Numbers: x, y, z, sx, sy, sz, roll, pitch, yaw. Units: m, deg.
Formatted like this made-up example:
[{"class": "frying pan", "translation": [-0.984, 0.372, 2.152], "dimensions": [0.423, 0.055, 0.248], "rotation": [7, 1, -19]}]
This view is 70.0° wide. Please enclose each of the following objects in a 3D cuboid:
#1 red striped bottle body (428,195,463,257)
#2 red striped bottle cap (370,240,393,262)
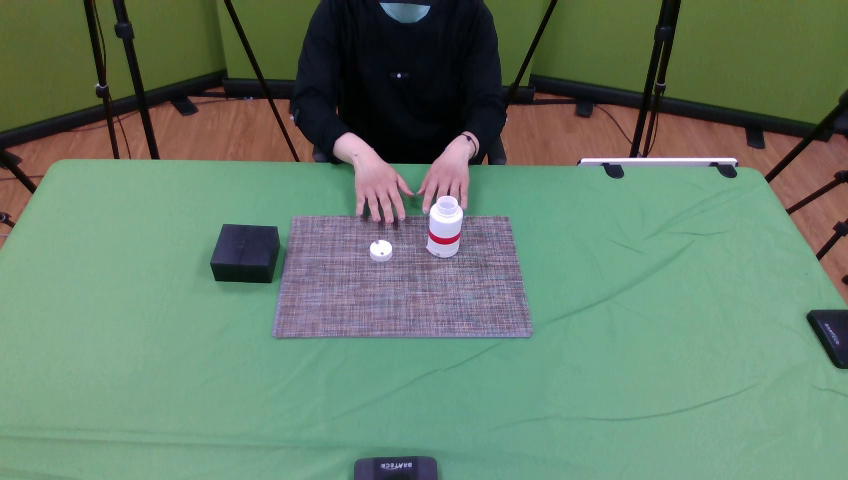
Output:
[{"class": "red striped bottle body", "translation": [0.041, -0.029, 1.151], "dimensions": [0.063, 0.120, 0.062], "rotation": [2, 46, -1]}, {"class": "red striped bottle cap", "translation": [-0.082, 0.020, 1.168], "dimensions": [0.044, 0.018, 0.044], "rotation": [-2, 47, 2]}]
